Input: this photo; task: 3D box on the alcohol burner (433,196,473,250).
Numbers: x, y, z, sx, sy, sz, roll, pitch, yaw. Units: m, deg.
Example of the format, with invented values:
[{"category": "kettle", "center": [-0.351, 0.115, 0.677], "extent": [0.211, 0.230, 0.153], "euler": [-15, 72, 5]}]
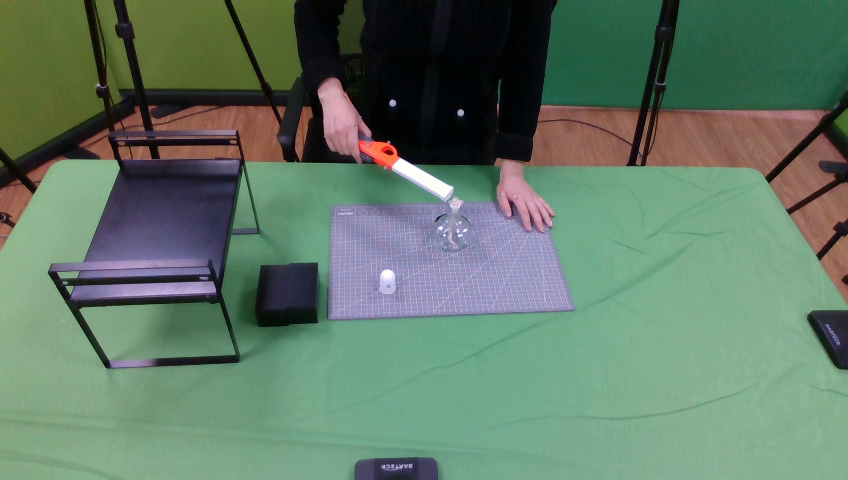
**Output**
[{"category": "alcohol burner", "center": [0.058, -0.038, 1.169], "extent": [0.078, 0.119, 0.077], "euler": [3, 45, -3]}]

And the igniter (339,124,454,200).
[{"category": "igniter", "center": [-0.061, -0.155, 1.178], "extent": [0.275, 0.025, 0.057], "euler": [32, 64, 21]}]

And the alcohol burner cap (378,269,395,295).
[{"category": "alcohol burner cap", "center": [-0.068, 0.073, 1.103], "extent": [0.034, 0.048, 0.033], "euler": [3, 45, -3]}]
